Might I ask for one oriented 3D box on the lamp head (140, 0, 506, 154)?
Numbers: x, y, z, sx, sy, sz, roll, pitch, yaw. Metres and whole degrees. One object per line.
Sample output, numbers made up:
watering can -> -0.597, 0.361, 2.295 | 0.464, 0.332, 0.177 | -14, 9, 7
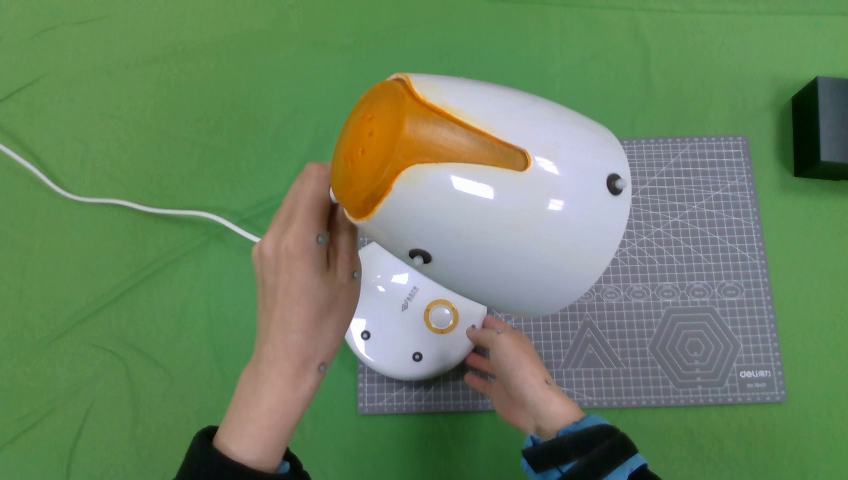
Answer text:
lamp head -> -0.049, -0.101, 0.232 | 0.124, 0.112, 0.112 | 11, 81, -36

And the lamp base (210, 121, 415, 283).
lamp base -> -0.100, -0.050, 0.517 | 0.179, 0.181, 0.160 | 9, 82, 2

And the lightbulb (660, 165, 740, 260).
lightbulb -> 0.272, -0.030, 0.610 | 0.059, 0.060, 0.107 | -22, 67, -1
